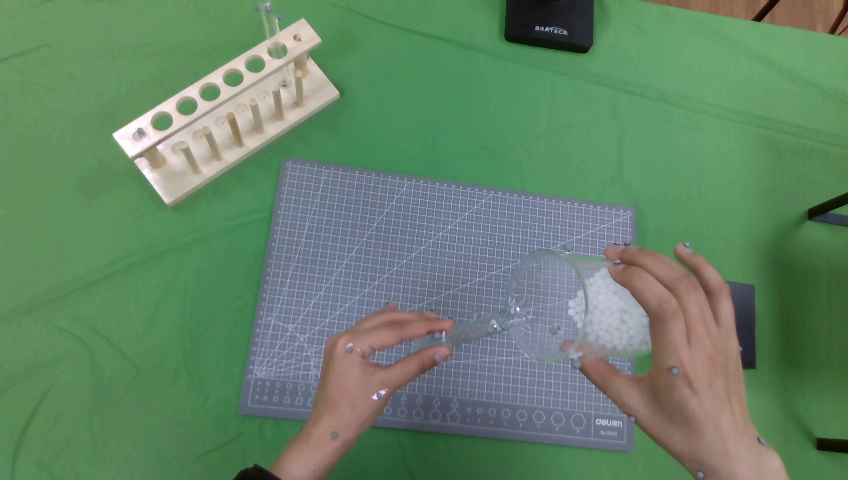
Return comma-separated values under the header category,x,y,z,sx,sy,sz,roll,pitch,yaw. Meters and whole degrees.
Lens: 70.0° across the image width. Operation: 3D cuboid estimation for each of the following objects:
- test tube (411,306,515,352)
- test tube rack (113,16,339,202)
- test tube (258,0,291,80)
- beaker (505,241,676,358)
category,x,y,z,sx,sy,sz,roll,pitch,yaw
test tube,0.026,0.074,0.488,0.017,0.150,0.017,9,70,-25
test tube rack,-0.214,-0.149,0.692,0.242,0.085,0.066,-37,84,-15
test tube,-0.163,-0.221,0.666,0.017,0.151,0.017,1,73,-5
beaker,0.116,0.044,0.422,0.101,0.084,0.073,5,67,-34
